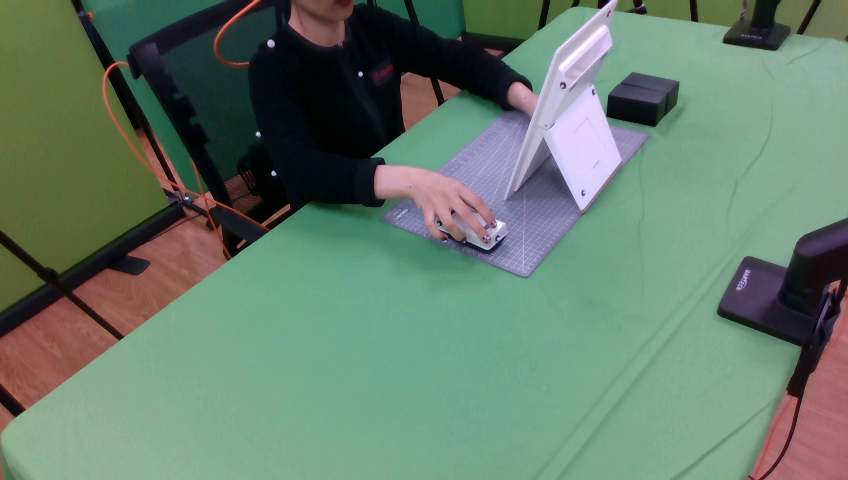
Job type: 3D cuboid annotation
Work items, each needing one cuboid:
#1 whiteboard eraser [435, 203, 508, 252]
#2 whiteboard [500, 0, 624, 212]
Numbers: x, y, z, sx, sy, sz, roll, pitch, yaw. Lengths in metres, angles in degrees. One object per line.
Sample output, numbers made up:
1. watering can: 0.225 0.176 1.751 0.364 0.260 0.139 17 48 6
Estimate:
1. whiteboard eraser: 0.075 -0.019 0.971 0.112 0.042 0.056 24 51 34
2. whiteboard: 0.271 -0.189 0.977 0.143 0.306 0.218 34 54 16
